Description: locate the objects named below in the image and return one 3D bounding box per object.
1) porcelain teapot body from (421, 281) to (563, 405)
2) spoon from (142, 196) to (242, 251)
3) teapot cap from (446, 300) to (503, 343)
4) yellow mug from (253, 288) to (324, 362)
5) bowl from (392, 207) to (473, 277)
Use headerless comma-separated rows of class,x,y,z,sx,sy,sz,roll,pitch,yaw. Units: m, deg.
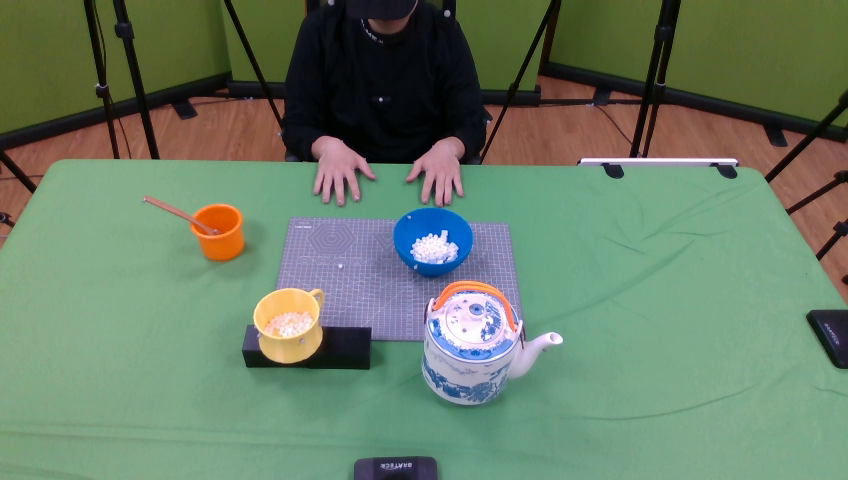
porcelain teapot body,0.101,0.148,0.923,0.205,0.226,0.144,12,46,7
spoon,-0.421,-0.032,1.108,0.021,0.195,0.041,-32,40,28
teapot cap,0.076,0.115,0.898,0.085,0.044,0.084,4,45,-4
yellow mug,-0.205,0.124,0.963,0.099,0.064,0.130,27,49,21
bowl,0.014,0.016,1.140,0.151,0.077,0.150,2,46,-2
